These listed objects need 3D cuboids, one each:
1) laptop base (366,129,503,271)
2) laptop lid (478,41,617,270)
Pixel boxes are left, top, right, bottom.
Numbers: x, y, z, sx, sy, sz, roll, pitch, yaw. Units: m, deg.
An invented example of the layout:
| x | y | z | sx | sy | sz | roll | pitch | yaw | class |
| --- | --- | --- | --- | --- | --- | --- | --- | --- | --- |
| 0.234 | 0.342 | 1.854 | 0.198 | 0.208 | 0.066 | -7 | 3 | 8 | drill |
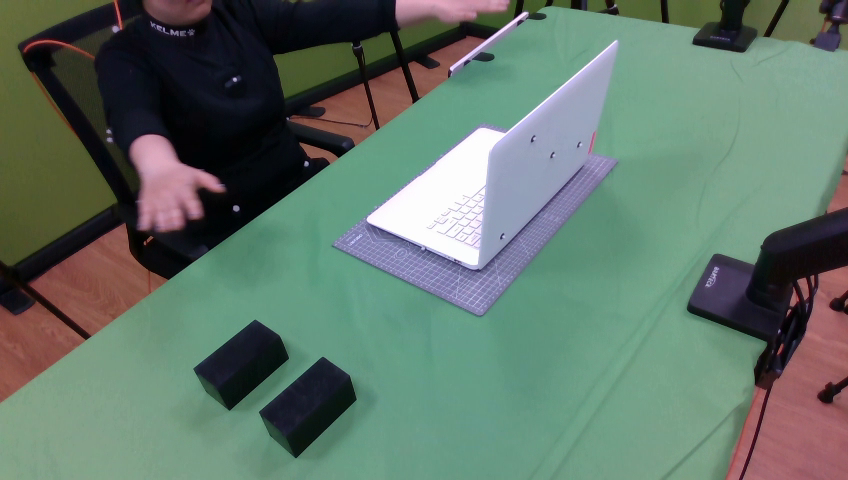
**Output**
| x | y | z | sx | sy | sz | roll | pitch | yaw | class |
| --- | --- | --- | --- | --- | --- | --- | --- | --- | --- |
| 0.098 | -0.086 | 1.059 | 0.233 | 0.023 | 0.355 | 21 | 48 | 34 | laptop base |
| 0.190 | -0.130 | 0.913 | 0.013 | 0.242 | 0.358 | 29 | 50 | 26 | laptop lid |
